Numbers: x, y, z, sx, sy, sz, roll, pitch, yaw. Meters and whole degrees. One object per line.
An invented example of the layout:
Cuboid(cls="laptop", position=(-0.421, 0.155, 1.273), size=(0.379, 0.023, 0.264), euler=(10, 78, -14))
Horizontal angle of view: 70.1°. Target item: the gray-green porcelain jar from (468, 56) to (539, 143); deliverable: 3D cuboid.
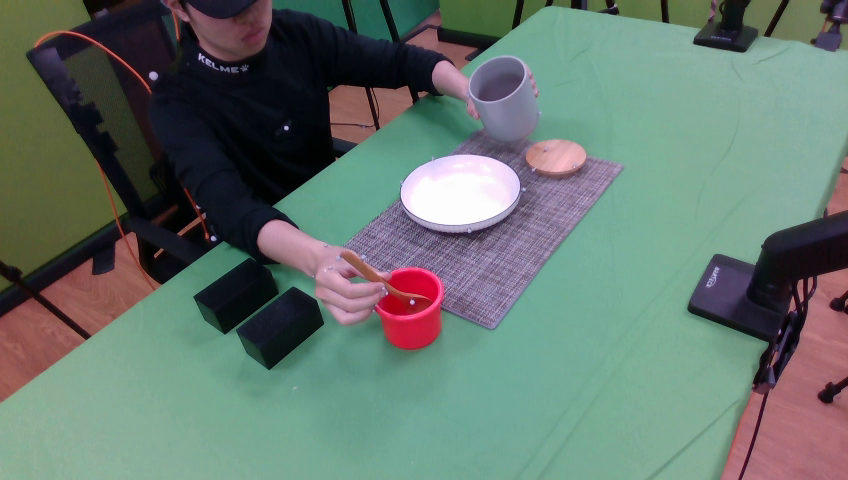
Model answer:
Cuboid(cls="gray-green porcelain jar", position=(0.146, -0.245, 1.082), size=(0.105, 0.127, 0.105), euler=(-11, 58, 18))

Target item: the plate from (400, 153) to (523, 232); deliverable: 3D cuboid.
Cuboid(cls="plate", position=(0.065, -0.078, 1.034), size=(0.207, 0.039, 0.206), euler=(-4, 41, 4))

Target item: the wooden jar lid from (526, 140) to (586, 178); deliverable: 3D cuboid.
Cuboid(cls="wooden jar lid", position=(0.240, -0.147, 1.103), size=(0.108, 0.021, 0.108), euler=(-4, 42, 4))

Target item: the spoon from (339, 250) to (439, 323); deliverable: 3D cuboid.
Cuboid(cls="spoon", position=(-0.041, 0.061, 0.768), size=(0.041, 0.195, 0.021), euler=(-27, 51, 21))
